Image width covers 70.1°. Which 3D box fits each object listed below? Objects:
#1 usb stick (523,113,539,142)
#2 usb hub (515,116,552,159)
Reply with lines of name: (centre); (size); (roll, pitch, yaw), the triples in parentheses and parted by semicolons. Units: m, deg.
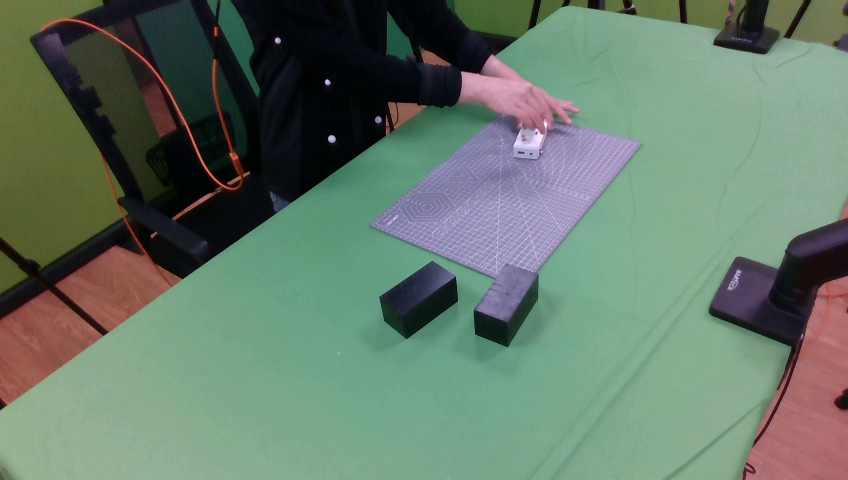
usb stick: (0.199, -0.206, 1.128); (0.027, 0.059, 0.021); (13, 41, 12)
usb hub: (0.213, -0.201, 1.174); (0.049, 0.025, 0.125); (9, 43, 18)
